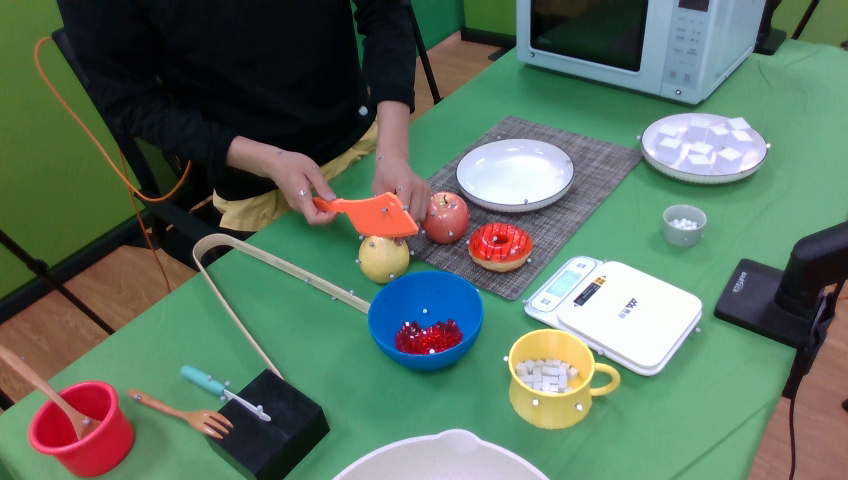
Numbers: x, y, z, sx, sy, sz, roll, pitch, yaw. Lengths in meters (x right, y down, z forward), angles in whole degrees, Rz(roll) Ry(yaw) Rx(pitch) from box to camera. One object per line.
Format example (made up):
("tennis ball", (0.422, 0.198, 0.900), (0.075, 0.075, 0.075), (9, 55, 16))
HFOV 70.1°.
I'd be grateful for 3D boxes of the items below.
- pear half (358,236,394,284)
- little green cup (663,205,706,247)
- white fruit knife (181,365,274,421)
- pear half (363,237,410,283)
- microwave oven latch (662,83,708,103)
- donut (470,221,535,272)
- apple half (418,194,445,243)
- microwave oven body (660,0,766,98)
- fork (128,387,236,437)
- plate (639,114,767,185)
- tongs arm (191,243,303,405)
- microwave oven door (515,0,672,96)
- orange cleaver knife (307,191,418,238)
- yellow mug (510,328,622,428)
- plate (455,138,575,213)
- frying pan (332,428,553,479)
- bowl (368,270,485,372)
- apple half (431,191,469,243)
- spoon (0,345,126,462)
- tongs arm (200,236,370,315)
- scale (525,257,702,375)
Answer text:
("pear half", (-0.077, 0.034, 0.895), (0.070, 0.088, 0.031), (28, 52, 26))
("little green cup", (0.396, -0.020, 0.926), (0.061, 0.039, 0.061), (-4, 40, 4))
("white fruit knife", (-0.245, 0.188, 0.747), (0.205, 0.027, 0.016), (9, 41, 41))
("pear half", (-0.054, 0.007, 0.907), (0.076, 0.110, 0.056), (28, 50, 25))
("microwave oven latch", (0.517, -0.296, 1.204), (0.078, 0.029, 0.030), (27, 52, 35))
("donut", (0.119, 0.009, 0.923), (0.099, 0.048, 0.098), (-3, 39, 3))
("apple half", (0.009, -0.028, 0.959), (0.033, 0.081, 0.080), (-15, 41, -12))
("microwave oven body", (0.472, -0.513, 1.317), (0.438, 0.261, 0.327), (26, 51, 34))
("fork", (-0.305, 0.207, 0.744), (0.206, 0.019, 0.028), (3, 41, 36))
("plate", (0.489, -0.157, 1.074), (0.207, 0.039, 0.206), (-4, 40, 4))
("tongs arm", (-0.268, 0.110, 0.882), (0.028, 0.028, 0.384), (-36, 47, -18))
("microwave oven door", (0.343, -0.454, 1.259), (0.353, 0.245, 0.039), (26, 51, 33))
("orange cleaver knife", (-0.092, -0.035, 0.866), (0.209, 0.077, 0.012), (4, 37, 43))
("yellow mug", (0.168, 0.164, 0.722), (0.130, 0.064, 0.099), (0, 40, 8))
("plate", (0.159, -0.111, 1.063), (0.209, 0.038, 0.208), (-4, 40, 4))
("frying pan", (-0.089, 0.306, 0.564), (0.487, 0.103, 0.306), (10, 41, 7))
("bowl", (0.007, 0.118, 0.791), (0.151, 0.077, 0.150), (-5, 40, 4))
("apple half", (0.045, -0.038, 0.967), (0.053, 0.075, 0.080), (-13, 38, -11))
("spoon", (-0.434, 0.192, 0.720), (0.194, 0.021, 0.042), (47, 53, -7))
("tongs arm", (-0.209, 0.062, 0.924), (0.381, 0.026, 0.051), (23, 53, 32))
("scale", (0.254, 0.091, 0.821), (0.199, 0.032, 0.149), (27, 51, 35))
